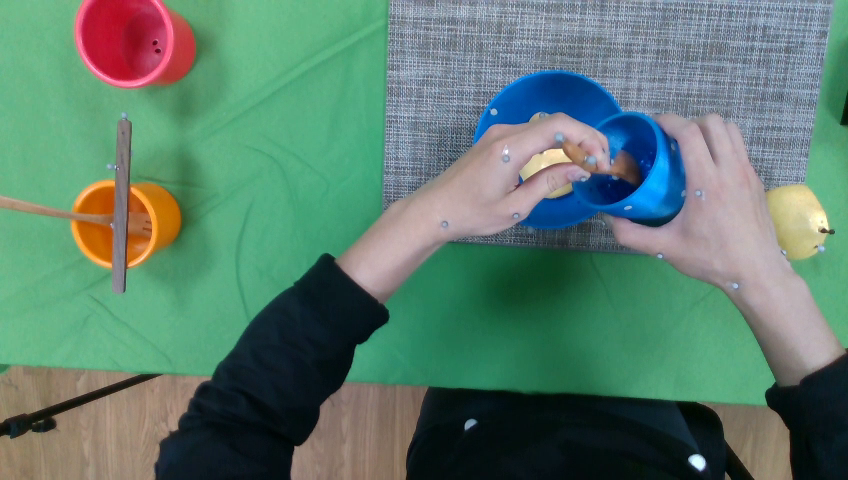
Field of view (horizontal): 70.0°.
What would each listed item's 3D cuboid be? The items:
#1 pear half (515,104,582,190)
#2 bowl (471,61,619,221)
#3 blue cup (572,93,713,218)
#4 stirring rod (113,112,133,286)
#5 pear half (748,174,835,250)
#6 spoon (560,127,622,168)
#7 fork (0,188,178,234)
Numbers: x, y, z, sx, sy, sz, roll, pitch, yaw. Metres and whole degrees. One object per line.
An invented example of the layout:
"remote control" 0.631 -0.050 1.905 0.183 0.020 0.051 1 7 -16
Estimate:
"pear half" 0.127 -0.095 0.604 0.070 0.031 0.088 -17 95 1
"bowl" 0.121 -0.098 0.610 0.151 0.076 0.152 0 101 3
"blue cup" 0.193 -0.060 0.519 0.101 0.091 0.093 15 103 -33
"stirring rod" -0.301 -0.038 0.605 0.014 0.006 0.176 7 102 -2
"pear half" 0.362 -0.023 0.600 0.056 0.109 0.076 -16 96 6
"spoon" 0.138 -0.064 0.463 0.021 0.195 0.041 -29 77 31
"fork" -0.354 -0.034 0.610 0.209 0.018 0.028 12 115 -44
